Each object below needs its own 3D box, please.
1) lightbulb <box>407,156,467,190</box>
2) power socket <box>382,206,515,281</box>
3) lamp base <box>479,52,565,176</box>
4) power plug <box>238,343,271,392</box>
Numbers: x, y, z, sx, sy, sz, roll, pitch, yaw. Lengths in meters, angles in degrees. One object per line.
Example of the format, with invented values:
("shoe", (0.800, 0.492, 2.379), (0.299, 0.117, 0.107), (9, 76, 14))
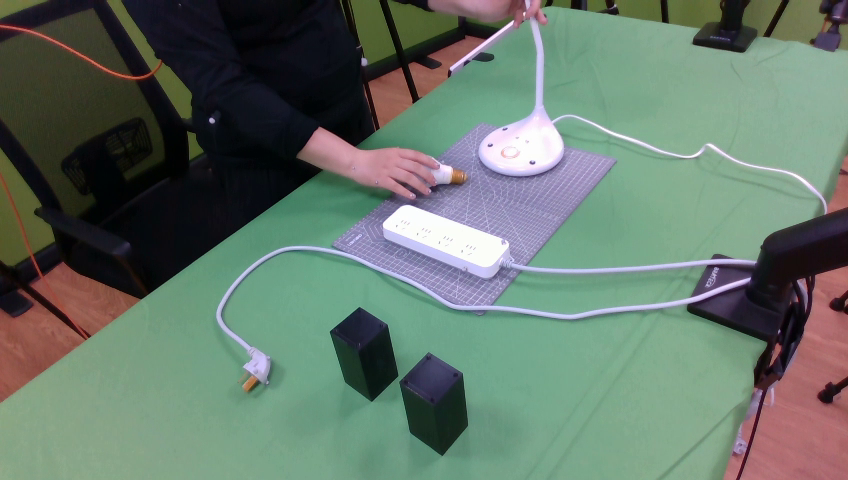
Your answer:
("lightbulb", (0.023, -0.117, 1.081), (0.108, 0.059, 0.059), (6, 40, -7))
("power socket", (0.032, 0.002, 0.950), (0.225, 0.033, 0.072), (21, 49, 29))
("lamp base", (0.181, -0.235, 1.093), (0.159, 0.181, 0.179), (18, 44, 27))
("power plug", (-0.230, 0.172, 0.800), (0.072, 0.035, 0.053), (8, 50, 49))
